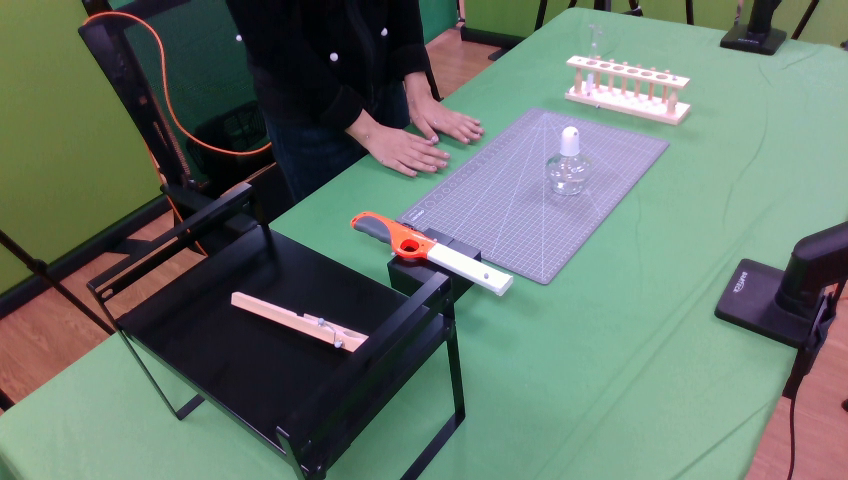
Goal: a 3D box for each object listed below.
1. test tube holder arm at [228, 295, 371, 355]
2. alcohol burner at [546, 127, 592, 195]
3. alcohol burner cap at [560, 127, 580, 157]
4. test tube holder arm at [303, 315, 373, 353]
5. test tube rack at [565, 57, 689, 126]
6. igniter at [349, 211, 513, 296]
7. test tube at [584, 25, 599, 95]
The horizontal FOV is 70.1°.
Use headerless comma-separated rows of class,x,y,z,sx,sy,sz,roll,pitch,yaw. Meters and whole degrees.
test tube holder arm,-0.132,0.084,0.618,0.177,0.015,0.013,14,6,24
alcohol burner,0.246,-0.137,1.024,0.078,0.119,0.077,-4,38,4
alcohol burner cap,0.243,-0.165,1.001,0.034,0.048,0.033,-4,38,3
test tube holder arm,-0.089,0.094,0.604,0.087,0.015,0.010,14,6,26
test tube rack,0.411,-0.311,1.230,0.240,0.085,0.067,23,49,32
igniter,0.003,0.013,0.881,0.274,0.025,0.057,24,52,28
test tube,0.339,-0.361,1.224,0.017,0.151,0.017,-4,45,4
